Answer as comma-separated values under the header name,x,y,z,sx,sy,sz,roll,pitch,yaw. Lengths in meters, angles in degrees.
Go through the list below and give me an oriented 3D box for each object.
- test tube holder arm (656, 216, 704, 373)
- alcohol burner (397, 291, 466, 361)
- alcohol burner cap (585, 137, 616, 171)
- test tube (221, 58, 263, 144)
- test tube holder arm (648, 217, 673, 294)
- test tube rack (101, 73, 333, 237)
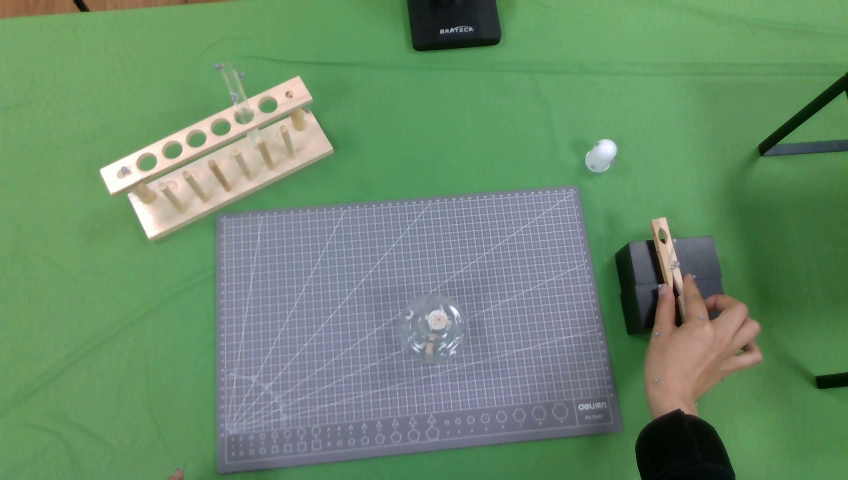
name,x,y,z,sx,sy,sz,roll,pitch,yaw
test tube holder arm,0.284,0.060,0.677,0.013,0.015,0.177,-14,77,10
alcohol burner,0.009,0.090,0.654,0.078,0.119,0.077,1,75,-3
alcohol burner cap,0.224,-0.110,0.760,0.034,0.048,0.033,0,73,-1
test tube,-0.201,-0.151,0.679,0.017,0.151,0.017,1,68,-3
test tube holder arm,0.270,0.018,0.688,0.010,0.015,0.087,-12,77,11
test tube rack,-0.234,-0.099,0.714,0.242,0.085,0.066,-28,76,-10
